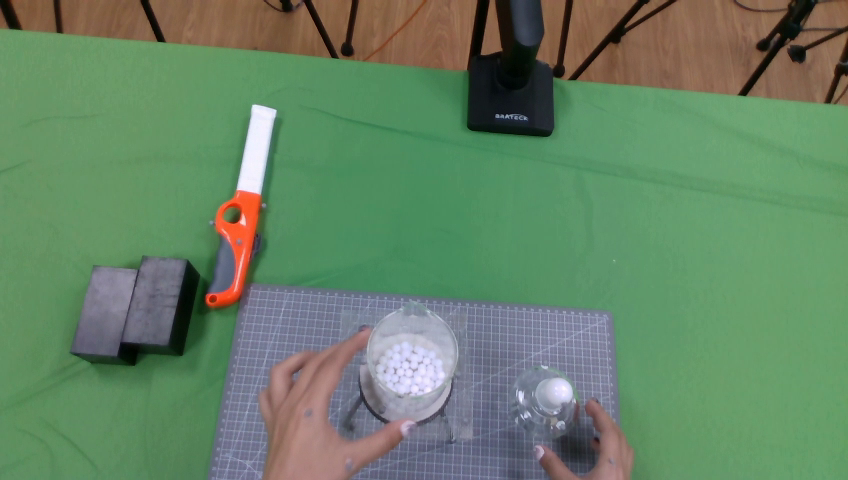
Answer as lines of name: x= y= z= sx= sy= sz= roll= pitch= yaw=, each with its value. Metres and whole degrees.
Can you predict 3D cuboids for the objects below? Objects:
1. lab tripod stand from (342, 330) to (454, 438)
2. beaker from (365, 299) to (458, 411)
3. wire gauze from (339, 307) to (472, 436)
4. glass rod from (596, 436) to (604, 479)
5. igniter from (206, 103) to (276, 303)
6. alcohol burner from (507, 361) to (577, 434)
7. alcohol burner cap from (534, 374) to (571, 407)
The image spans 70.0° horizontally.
lab tripod stand: x=-0.022 y=0.149 z=0.631 sx=0.148 sy=0.132 sz=0.147 roll=1 pitch=66 yaw=-2
beaker: x=-0.012 y=0.104 z=0.526 sx=0.074 sy=0.101 sz=0.083 roll=1 pitch=66 yaw=-3
wire gauze: x=-0.019 y=0.122 z=0.571 sx=0.125 sy=0.011 sz=0.120 roll=0 pitch=66 yaw=-2
glass rod: x=0.193 y=0.314 z=0.648 sx=0.008 sy=0.008 sz=0.198 roll=4 pitch=67 yaw=-3
igniter: x=-0.224 y=-0.051 z=0.757 sx=0.057 sy=0.025 sz=0.274 roll=12 pitch=67 yaw=-16
alcohol burner: x=0.130 y=0.165 z=0.647 sx=0.078 sy=0.120 sz=0.077 roll=1 pitch=65 yaw=-2
alcohol burner cap: x=0.133 y=0.150 z=0.613 sx=0.034 sy=0.048 sz=0.033 roll=2 pitch=71 yaw=-4
